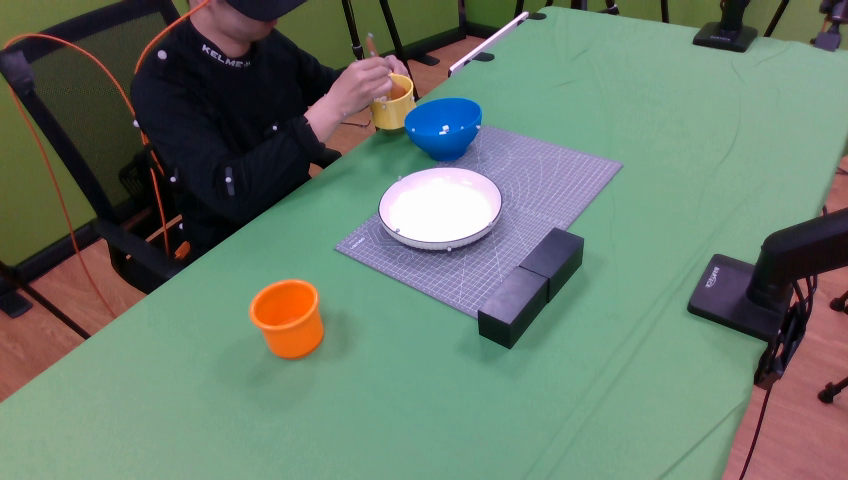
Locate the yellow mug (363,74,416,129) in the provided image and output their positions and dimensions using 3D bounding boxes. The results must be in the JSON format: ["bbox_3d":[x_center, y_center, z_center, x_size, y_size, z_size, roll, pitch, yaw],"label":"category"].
[{"bbox_3d":[-0.067,-0.291,1.233,0.100,0.064,0.130,-3,46,6],"label":"yellow mug"}]

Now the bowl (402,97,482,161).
[{"bbox_3d":[0.040,-0.203,1.154,0.151,0.077,0.150,-7,38,6],"label":"bowl"}]

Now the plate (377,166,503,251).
[{"bbox_3d":[0.027,-0.050,1.007,0.209,0.038,0.208,-4,41,4],"label":"plate"}]

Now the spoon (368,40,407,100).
[{"bbox_3d":[-0.073,-0.318,1.169,0.021,0.195,0.041,36,82,31],"label":"spoon"}]
